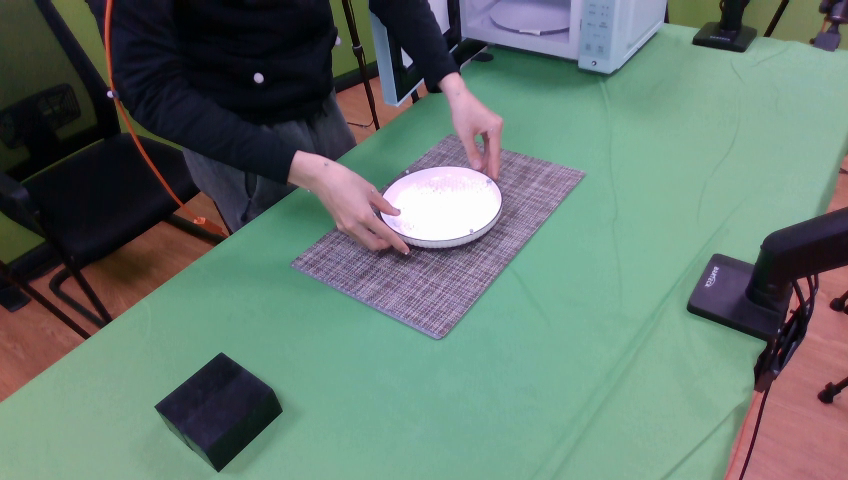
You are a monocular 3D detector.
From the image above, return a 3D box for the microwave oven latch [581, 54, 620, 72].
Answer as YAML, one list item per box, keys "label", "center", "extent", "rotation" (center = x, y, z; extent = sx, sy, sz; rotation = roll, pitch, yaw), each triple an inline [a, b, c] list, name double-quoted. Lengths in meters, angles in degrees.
- label: "microwave oven latch"
  center: [0.386, -0.393, 1.330]
  extent: [0.078, 0.029, 0.030]
  rotation: [25, 51, 32]

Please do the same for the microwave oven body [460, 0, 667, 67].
- label: "microwave oven body"
  center: [0.324, -0.608, 1.437]
  extent: [0.438, 0.261, 0.327]
  rotation: [22, 50, 31]

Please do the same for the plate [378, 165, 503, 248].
- label: "plate"
  center: [0.028, -0.053, 1.009]
  extent: [0.209, 0.038, 0.208]
  rotation: [-4, 41, 4]

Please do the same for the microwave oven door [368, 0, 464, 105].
- label: "microwave oven door"
  center: [-0.006, -0.494, 1.347]
  extent: [0.039, 0.245, 0.356]
  rotation: [14, 45, 24]
